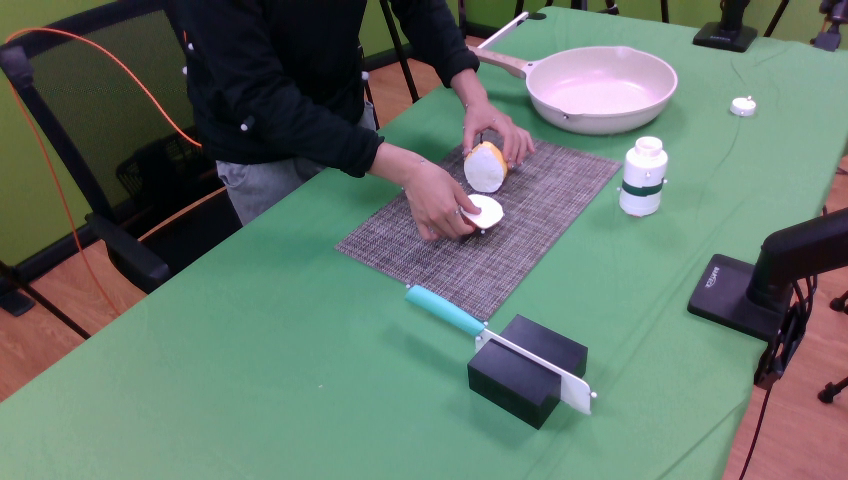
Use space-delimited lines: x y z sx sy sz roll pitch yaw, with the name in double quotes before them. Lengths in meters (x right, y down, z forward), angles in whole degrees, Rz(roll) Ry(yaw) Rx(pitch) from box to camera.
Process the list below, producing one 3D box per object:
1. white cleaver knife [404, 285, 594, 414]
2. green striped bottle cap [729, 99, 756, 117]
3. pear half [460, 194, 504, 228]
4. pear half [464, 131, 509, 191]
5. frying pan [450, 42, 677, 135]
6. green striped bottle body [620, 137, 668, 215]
"white cleaver knife" 0.084 0.135 0.764 0.284 0.066 0.021 28 47 31
"green striped bottle cap" 0.623 -0.259 1.182 0.044 0.020 0.044 -3 40 3
"pear half" 0.093 -0.040 0.977 0.070 0.031 0.087 3 43 -1
"pear half" 0.109 -0.145 1.043 0.076 0.110 0.056 6 41 16
"frying pan" 0.268 -0.344 1.266 0.485 0.103 0.307 26 49 21
"green striped bottle body" 0.350 -0.103 0.963 0.063 0.120 0.063 -4 41 4
